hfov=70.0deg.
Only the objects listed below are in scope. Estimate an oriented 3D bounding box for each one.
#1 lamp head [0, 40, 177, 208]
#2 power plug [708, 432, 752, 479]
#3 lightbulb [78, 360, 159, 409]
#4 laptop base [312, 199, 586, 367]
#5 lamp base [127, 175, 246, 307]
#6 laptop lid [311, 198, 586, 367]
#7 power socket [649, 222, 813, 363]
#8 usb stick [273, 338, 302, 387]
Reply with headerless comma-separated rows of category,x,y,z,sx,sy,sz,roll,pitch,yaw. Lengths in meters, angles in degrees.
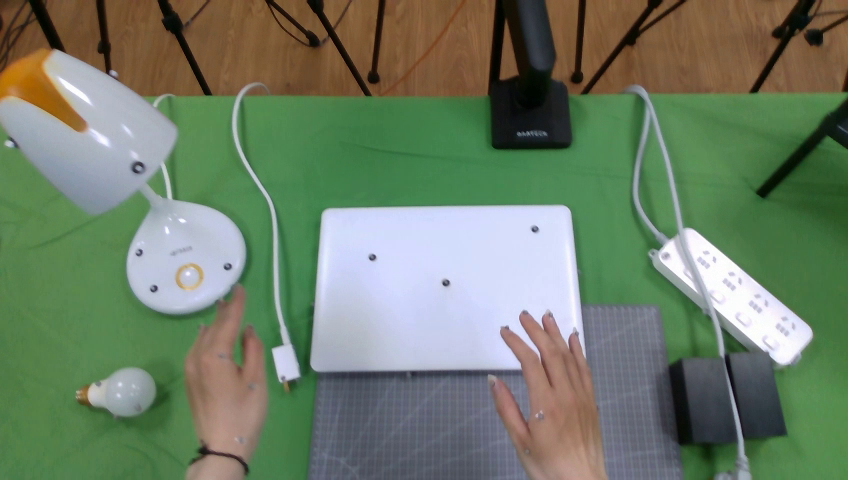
lamp head,-0.293,-0.106,0.510,0.112,0.124,0.111,-24,40,23
power plug,0.360,0.266,0.710,0.035,0.052,0.072,33,62,-13
lightbulb,-0.385,0.182,0.756,0.107,0.060,0.059,-7,66,14
laptop base,0.031,0.054,0.822,0.354,0.023,0.234,-1,69,1
lamp base,-0.336,-0.025,0.771,0.160,0.181,0.177,-29,67,-11
laptop lid,0.030,0.051,0.810,0.357,0.013,0.240,1,68,1
power socket,0.404,0.066,0.800,0.072,0.033,0.225,-40,71,-15
usb stick,-0.173,0.157,0.776,0.027,0.021,0.059,-13,77,-6
